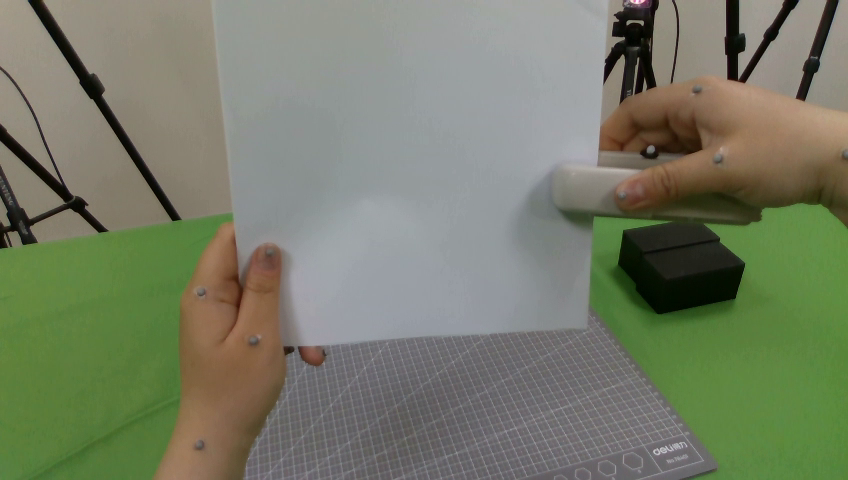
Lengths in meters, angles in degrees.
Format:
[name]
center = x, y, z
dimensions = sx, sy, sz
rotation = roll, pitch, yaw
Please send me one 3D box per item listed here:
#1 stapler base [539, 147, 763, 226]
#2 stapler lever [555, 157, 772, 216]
[stapler base]
center = 0.136, -0.032, 0.359
dimensions = 0.130, 0.041, 0.024
rotation = 4, 11, 4
[stapler lever]
center = 0.134, -0.030, 0.345
dimensions = 0.117, 0.027, 0.040
rotation = 6, 11, 15
